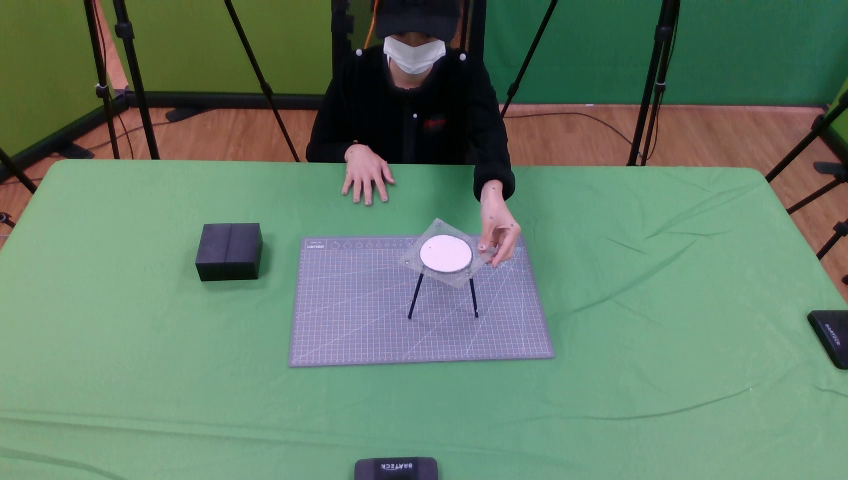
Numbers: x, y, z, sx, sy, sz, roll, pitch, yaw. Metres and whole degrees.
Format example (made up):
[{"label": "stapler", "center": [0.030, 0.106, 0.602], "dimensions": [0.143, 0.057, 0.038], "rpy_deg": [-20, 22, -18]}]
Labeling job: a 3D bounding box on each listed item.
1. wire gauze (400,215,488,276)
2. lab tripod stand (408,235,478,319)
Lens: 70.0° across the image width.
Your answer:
[{"label": "wire gauze", "center": [0.035, 0.004, 1.000], "dimensions": [0.125, 0.011, 0.121], "rpy_deg": [7, 49, 13]}, {"label": "lab tripod stand", "center": [0.032, 0.065, 1.057], "dimensions": [0.148, 0.132, 0.147], "rpy_deg": [1, 45, -1]}]
